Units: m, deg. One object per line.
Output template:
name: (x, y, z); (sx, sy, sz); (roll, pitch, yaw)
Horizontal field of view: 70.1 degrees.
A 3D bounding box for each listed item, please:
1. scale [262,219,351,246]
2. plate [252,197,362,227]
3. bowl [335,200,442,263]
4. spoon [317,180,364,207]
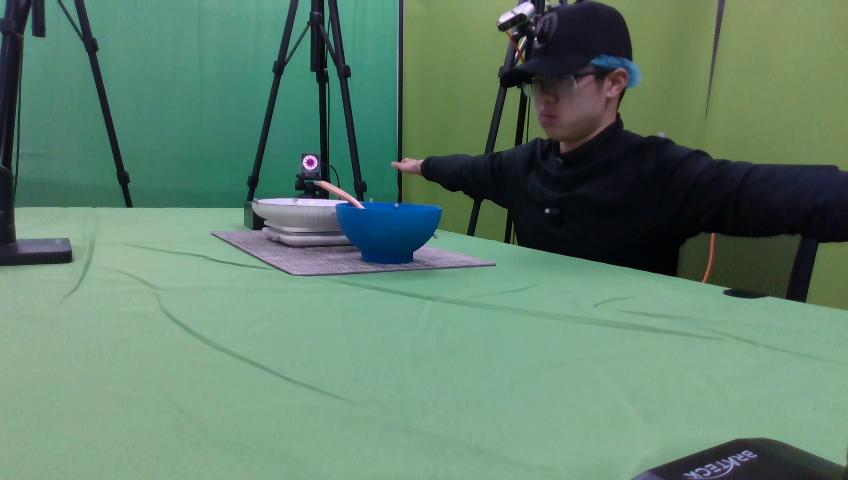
scale: (-0.160, -0.015, 1.027); (0.202, 0.031, 0.148); (-2, 8, -32)
plate: (-0.179, -0.047, 1.012); (0.209, 0.038, 0.209); (2, 6, 0)
bowl: (-0.051, -0.012, 0.849); (0.151, 0.077, 0.151); (2, 7, 0)
spoon: (-0.100, -0.051, 0.875); (0.042, 0.021, 0.192); (-13, 37, -38)
